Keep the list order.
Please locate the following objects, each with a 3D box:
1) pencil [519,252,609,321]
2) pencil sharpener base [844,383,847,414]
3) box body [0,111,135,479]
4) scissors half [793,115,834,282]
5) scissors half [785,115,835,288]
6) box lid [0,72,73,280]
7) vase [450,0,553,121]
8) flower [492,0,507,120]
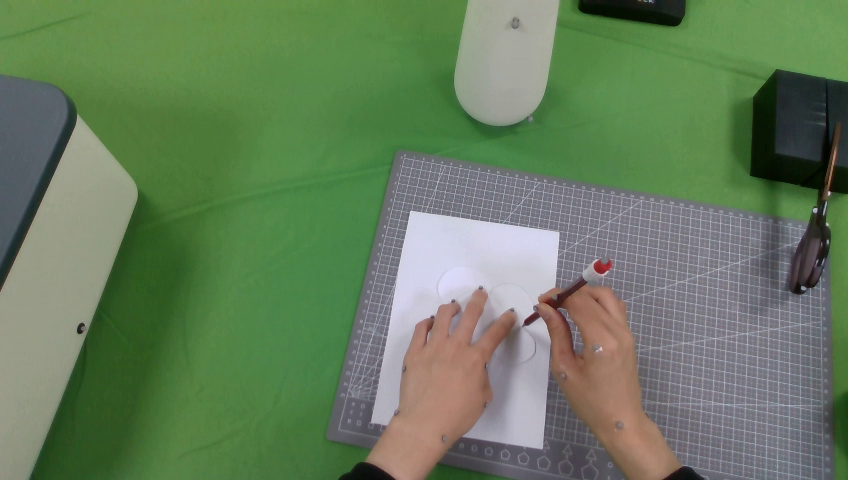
[{"bbox_3d":[0.104,0.044,0.489,0.012,0.195,0.012,3,70,-8],"label":"pencil"},{"bbox_3d":[0.414,0.152,0.504,0.061,0.107,0.076,6,71,2],"label":"pencil sharpener base"},{"bbox_3d":[-0.438,0.048,0.506,0.254,0.161,0.362,10,71,3],"label":"box body"},{"bbox_3d":[0.371,-0.043,0.567,0.013,0.040,0.174,16,72,15],"label":"scissors half"},{"bbox_3d":[0.376,-0.038,0.586,0.012,0.040,0.175,15,89,20],"label":"scissors half"},{"bbox_3d":[-0.438,0.020,0.435,0.263,0.015,0.369,11,71,3],"label":"box lid"},{"bbox_3d":[0.074,-0.200,0.576,0.098,0.201,0.097,0,69,1],"label":"vase"},{"bbox_3d":[0.070,-0.241,0.503,0.044,0.365,0.038,4,53,5],"label":"flower"}]
